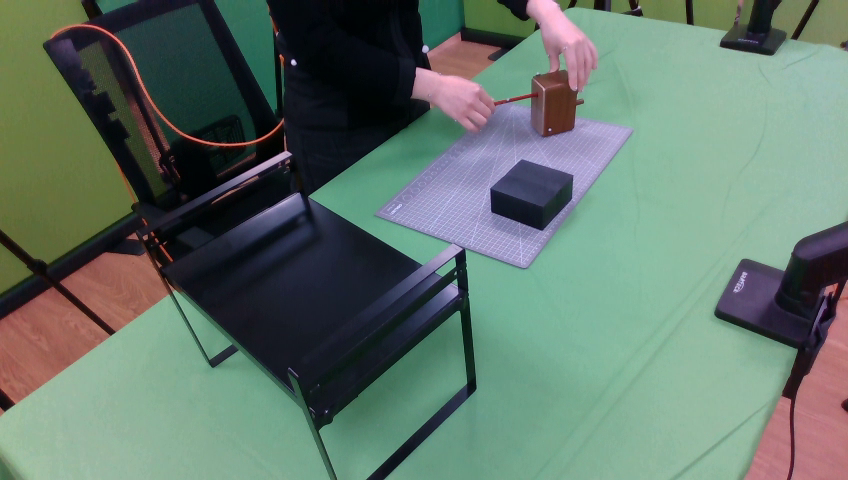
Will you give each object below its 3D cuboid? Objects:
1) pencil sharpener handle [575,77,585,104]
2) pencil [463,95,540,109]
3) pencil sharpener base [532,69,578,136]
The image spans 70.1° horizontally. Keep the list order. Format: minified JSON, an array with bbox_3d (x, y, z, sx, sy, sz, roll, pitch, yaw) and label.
[{"bbox_3d":[0.303,-0.293,1.181,0.031,0.068,0.035,-15,56,-8],"label":"pencil sharpener handle"},{"bbox_3d":[0.169,-0.265,1.145,0.194,0.012,0.012,-9,40,-8],"label":"pencil"},{"bbox_3d":[0.256,-0.268,1.179,0.077,0.107,0.061,-15,41,-8],"label":"pencil sharpener base"}]
